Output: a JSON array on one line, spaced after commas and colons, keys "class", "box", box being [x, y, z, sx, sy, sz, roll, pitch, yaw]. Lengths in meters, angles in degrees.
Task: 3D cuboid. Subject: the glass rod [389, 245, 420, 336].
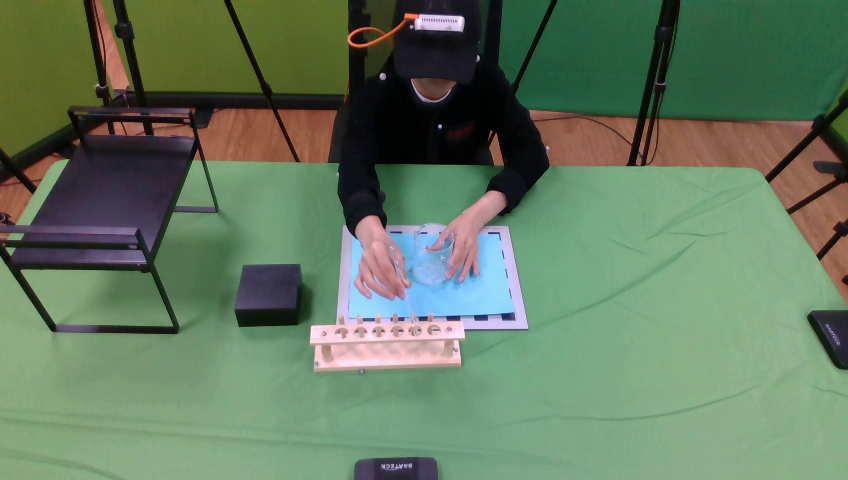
[{"class": "glass rod", "box": [-0.026, 0.083, 0.903, 0.008, 0.201, 0.008, -9, 39, 7]}]

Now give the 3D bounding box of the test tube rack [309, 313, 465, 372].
[{"class": "test tube rack", "box": [-0.059, 0.161, 0.990, 0.242, 0.085, 0.066, -1, 46, -5]}]

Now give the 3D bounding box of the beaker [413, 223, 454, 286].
[{"class": "beaker", "box": [0.018, 0.027, 1.110, 0.073, 0.101, 0.084, 36, 53, 28]}]
